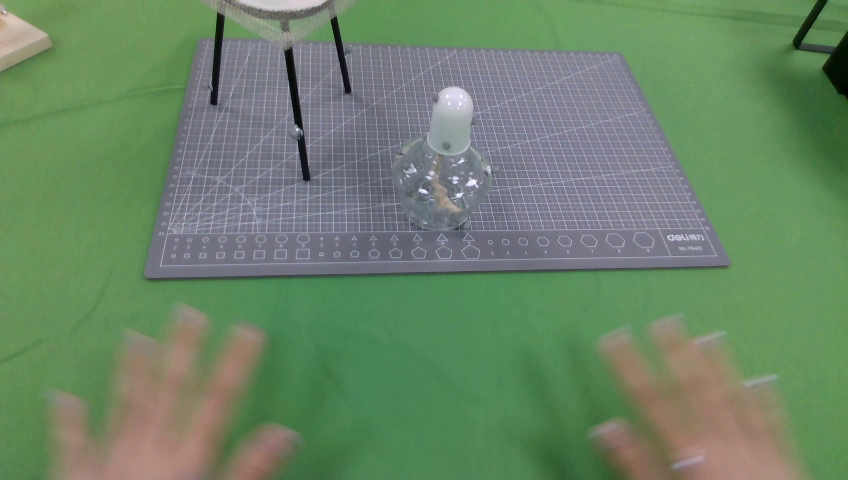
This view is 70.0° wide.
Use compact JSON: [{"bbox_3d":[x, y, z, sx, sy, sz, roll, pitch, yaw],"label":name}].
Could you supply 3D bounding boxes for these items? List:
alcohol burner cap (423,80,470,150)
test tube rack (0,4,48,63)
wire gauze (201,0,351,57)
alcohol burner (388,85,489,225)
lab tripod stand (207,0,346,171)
[{"bbox_3d":[0.017,-0.089,0.424,0.034,0.048,0.033,2,55,-3],"label":"alcohol burner cap"},{"bbox_3d":[-0.444,-0.157,0.480,0.066,0.086,0.241,30,53,16],"label":"test tube rack"},{"bbox_3d":[-0.109,-0.192,0.438,0.124,0.011,0.121,33,57,12],"label":"wire gauze"},{"bbox_3d":[0.013,-0.068,0.453,0.078,0.120,0.077,5,50,-6],"label":"alcohol burner"},{"bbox_3d":[-0.114,-0.151,0.488,0.149,0.132,0.147,5,51,-6],"label":"lab tripod stand"}]
